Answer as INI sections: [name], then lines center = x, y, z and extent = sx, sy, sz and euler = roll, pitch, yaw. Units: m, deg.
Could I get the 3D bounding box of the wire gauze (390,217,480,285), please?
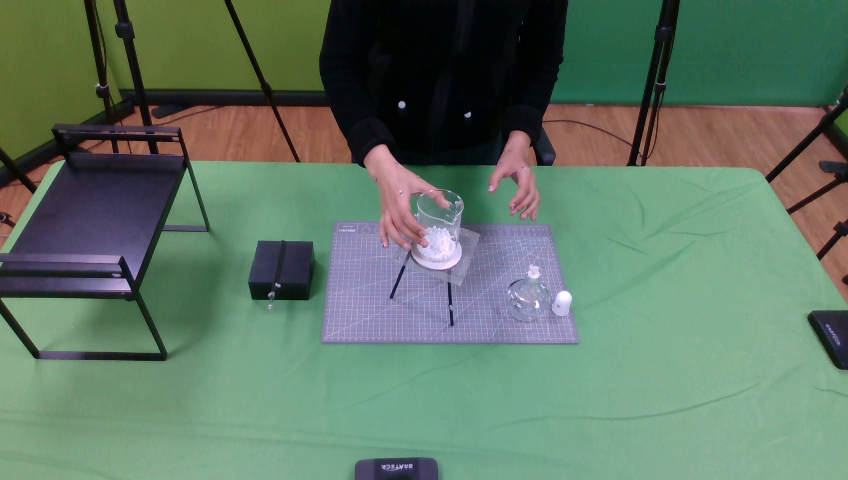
[wire gauze]
center = 0.020, 0.012, 1.010
extent = 0.125, 0.011, 0.121
euler = 17, 46, 12

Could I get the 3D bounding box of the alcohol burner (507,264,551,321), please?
[alcohol burner]
center = 0.185, 0.086, 1.056
extent = 0.078, 0.120, 0.077
euler = 1, 46, -1

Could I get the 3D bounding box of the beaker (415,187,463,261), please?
[beaker]
center = 0.023, -0.021, 0.973
extent = 0.074, 0.101, 0.083
euler = -17, 48, -20

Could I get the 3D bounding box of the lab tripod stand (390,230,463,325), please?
[lab tripod stand]
center = 0.014, 0.060, 1.056
extent = 0.148, 0.132, 0.147
euler = 1, 48, -1

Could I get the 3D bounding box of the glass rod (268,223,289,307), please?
[glass rod]
center = -0.259, 0.041, 1.080
extent = 0.008, 0.008, 0.198
euler = 2, 46, -2

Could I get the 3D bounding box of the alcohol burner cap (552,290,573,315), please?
[alcohol burner cap]
center = 0.251, 0.109, 1.088
extent = 0.034, 0.048, 0.033
euler = 3, 47, -2
